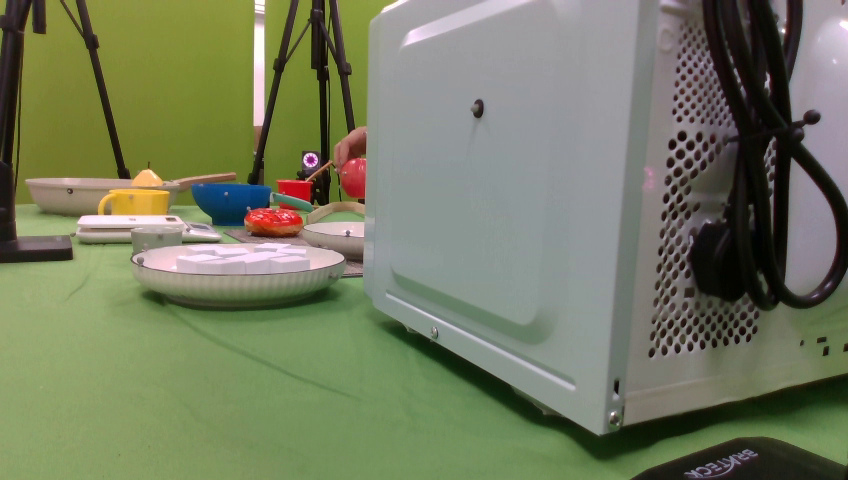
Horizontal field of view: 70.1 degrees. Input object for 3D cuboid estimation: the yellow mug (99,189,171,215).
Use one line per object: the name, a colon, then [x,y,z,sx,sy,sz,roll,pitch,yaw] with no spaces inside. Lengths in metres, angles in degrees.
yellow mug: [-0.518,-0.055,1.080,0.099,0.064,0.131,6,9,26]

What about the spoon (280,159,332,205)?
spoon: [-0.316,-0.159,1.640,0.194,0.022,0.041,-50,31,-20]

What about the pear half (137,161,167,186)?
pear half: [-0.602,-0.120,1.354,0.056,0.110,0.076,4,11,6]

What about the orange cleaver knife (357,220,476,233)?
orange cleaver knife: [-0.014,-0.023,1.089,0.212,0.012,0.077,-3,-8,-7]

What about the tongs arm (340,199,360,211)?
tongs arm: [-0.149,-0.071,1.429,0.051,0.026,0.383,-4,9,-15]

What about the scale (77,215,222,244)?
scale: [-0.434,-0.019,0.963,0.202,0.031,0.148,-1,9,-27]

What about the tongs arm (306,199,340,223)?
tongs arm: [-0.235,-0.069,1.413,0.028,0.028,0.387,-5,8,1]

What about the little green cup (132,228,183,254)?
little green cup: [-0.342,0.006,0.779,0.061,0.038,0.061,2,8,0]

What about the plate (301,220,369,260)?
plate: [-0.077,-0.001,0.893,0.209,0.038,0.209,3,8,0]

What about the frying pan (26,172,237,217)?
frying pan: [-0.624,-0.118,1.387,0.305,0.102,0.490,8,17,32]

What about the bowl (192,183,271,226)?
bowl: [-0.382,-0.071,1.202,0.151,0.077,0.151,3,7,0]

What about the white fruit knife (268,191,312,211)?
white fruit knife: [-0.364,-0.105,1.464,0.208,0.027,0.016,15,0,-34]

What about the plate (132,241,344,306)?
plate: [-0.187,0.033,0.625,0.208,0.039,0.207,2,8,0]

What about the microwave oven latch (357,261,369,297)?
microwave oven latch: [-0.019,0.033,0.530,0.079,0.029,0.030,-1,7,-26]

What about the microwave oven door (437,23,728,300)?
microwave oven door: [0.180,-0.072,0.621,0.358,0.243,0.039,-2,9,-29]

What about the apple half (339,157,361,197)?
apple half: [-0.130,-0.116,1.126,0.053,0.074,0.081,-6,6,13]

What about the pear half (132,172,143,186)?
pear half: [-0.638,-0.113,1.361,0.031,0.088,0.070,5,11,4]

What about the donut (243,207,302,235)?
donut: [-0.261,-0.032,1.043,0.099,0.048,0.099,4,9,0]

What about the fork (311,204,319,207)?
fork: [-0.356,-0.105,1.526,0.208,0.018,0.028,16,-6,-41]

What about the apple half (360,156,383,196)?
apple half: [-0.092,-0.119,1.118,0.033,0.081,0.081,-5,6,13]

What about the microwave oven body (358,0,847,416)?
microwave oven body: [0.211,-0.047,0.474,0.444,0.260,0.324,-1,7,-28]
